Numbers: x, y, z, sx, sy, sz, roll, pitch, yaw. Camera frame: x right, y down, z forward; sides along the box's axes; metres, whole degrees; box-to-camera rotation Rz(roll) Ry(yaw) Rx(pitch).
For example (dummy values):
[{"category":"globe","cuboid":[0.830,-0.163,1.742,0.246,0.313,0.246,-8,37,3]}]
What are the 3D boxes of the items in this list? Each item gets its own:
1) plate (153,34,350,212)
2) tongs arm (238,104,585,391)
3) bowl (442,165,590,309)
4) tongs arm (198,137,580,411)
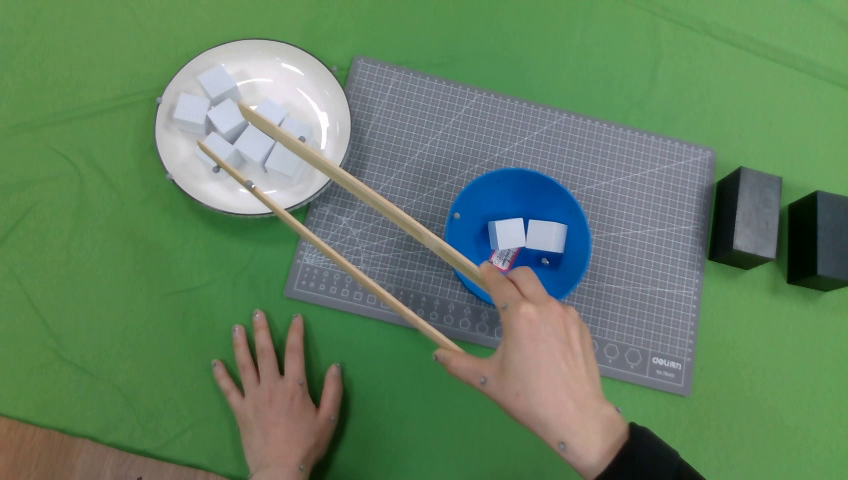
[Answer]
[{"category":"plate","cuboid":[-0.184,-0.126,0.665,0.208,0.039,0.206,1,75,-5]},{"category":"tongs arm","cuboid":[-0.024,-0.007,0.510,0.385,0.028,0.028,37,64,16]},{"category":"bowl","cuboid":[0.089,0.005,0.639,0.151,0.077,0.150,2,75,-6]},{"category":"tongs arm","cuboid":[-0.044,0.014,0.499,0.382,0.027,0.050,39,68,17]}]
